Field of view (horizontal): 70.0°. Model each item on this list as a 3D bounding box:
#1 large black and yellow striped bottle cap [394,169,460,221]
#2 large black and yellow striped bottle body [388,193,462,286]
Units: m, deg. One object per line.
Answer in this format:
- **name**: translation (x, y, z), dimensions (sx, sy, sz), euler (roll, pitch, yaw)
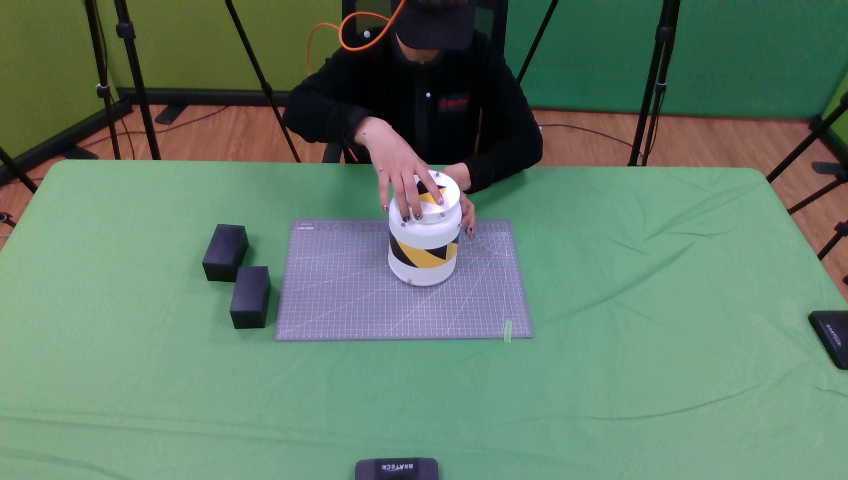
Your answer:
- **large black and yellow striped bottle cap**: translation (0.005, -0.079, 1.040), dimensions (0.115, 0.019, 0.114), euler (2, 48, -2)
- **large black and yellow striped bottle body**: translation (0.000, -0.021, 1.100), dimensions (0.131, 0.185, 0.130), euler (2, 46, -2)
